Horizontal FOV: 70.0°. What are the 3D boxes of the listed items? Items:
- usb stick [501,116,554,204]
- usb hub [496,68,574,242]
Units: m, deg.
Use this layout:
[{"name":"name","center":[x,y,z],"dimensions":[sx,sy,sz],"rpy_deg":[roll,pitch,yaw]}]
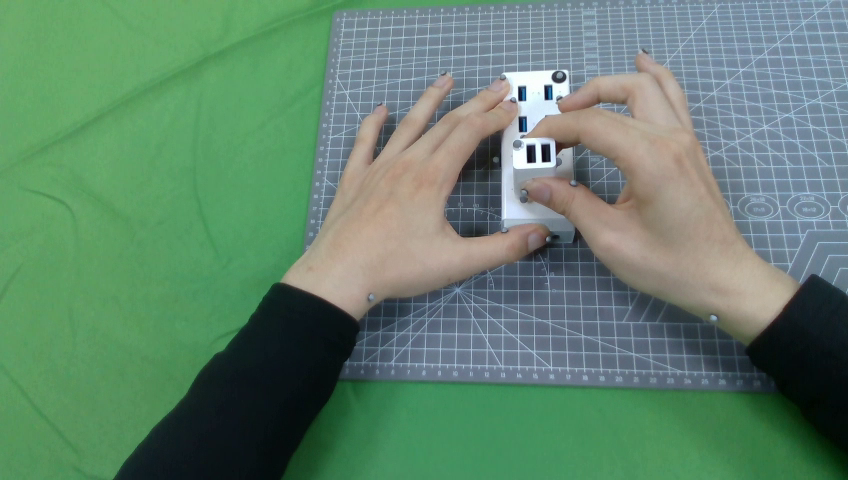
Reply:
[{"name":"usb stick","center":[0.064,-0.049,0.368],"dimensions":[0.027,0.060,0.021],"rpy_deg":[-29,58,-8]},{"name":"usb hub","center":[0.076,-0.061,0.420],"dimensions":[0.049,0.025,0.124],"rpy_deg":[-1,70,6]}]
